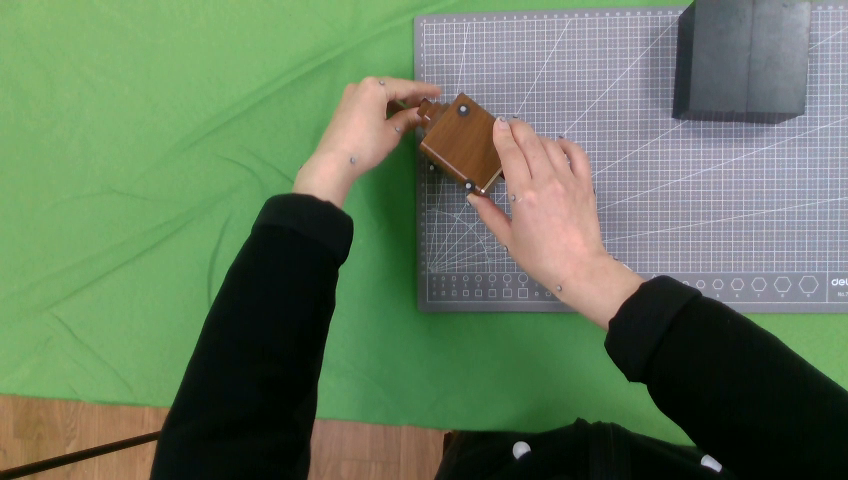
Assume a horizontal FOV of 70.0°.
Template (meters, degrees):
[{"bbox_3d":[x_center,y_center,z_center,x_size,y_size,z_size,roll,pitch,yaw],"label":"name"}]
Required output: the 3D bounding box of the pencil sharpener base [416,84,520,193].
[{"bbox_3d":[0.040,-0.091,0.558,0.076,0.107,0.061,40,95,3],"label":"pencil sharpener base"}]

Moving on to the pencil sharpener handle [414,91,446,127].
[{"bbox_3d":[0.000,-0.124,0.548,0.030,0.068,0.036,40,101,3],"label":"pencil sharpener handle"}]

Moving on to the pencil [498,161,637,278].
[{"bbox_3d":[0.111,-0.031,0.534,0.194,0.012,0.012,40,95,0],"label":"pencil"}]
